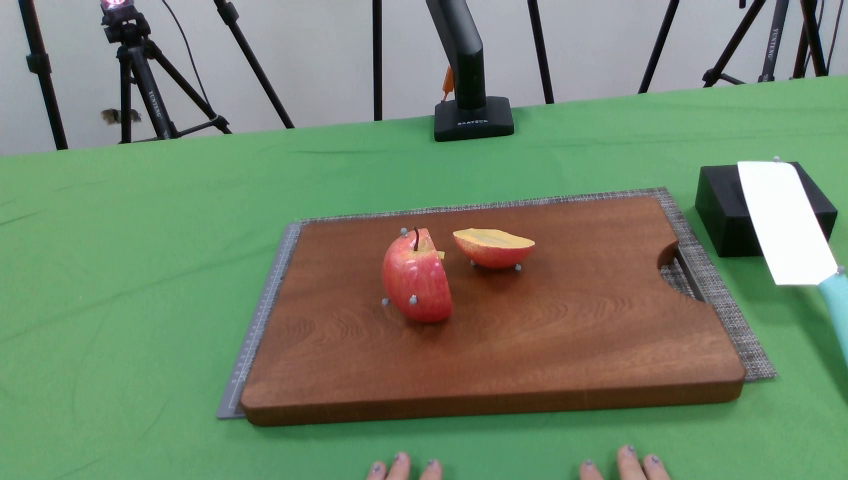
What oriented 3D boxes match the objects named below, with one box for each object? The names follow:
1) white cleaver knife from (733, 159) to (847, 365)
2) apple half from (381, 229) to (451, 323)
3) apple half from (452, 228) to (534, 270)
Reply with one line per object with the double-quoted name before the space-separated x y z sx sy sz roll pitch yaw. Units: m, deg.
"white cleaver knife" 0.338 0.023 0.541 0.066 0.022 0.283 -4 46 11
"apple half" -0.010 0.036 0.540 0.053 0.075 0.080 -17 40 -5
"apple half" 0.063 0.012 0.587 0.081 0.033 0.081 6 15 -1
